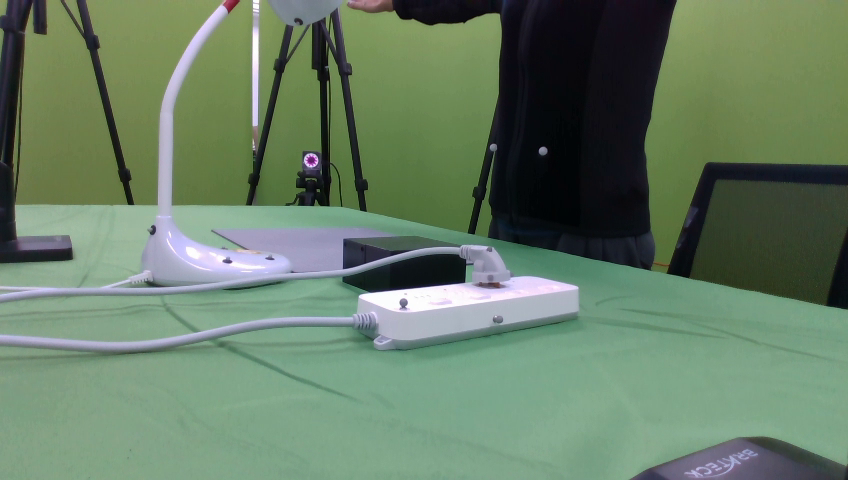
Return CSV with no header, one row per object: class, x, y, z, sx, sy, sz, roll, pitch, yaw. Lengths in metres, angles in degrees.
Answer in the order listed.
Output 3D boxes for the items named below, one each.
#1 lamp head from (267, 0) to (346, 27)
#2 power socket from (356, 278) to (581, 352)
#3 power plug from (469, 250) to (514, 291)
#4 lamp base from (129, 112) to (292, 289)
lamp head,-0.157,-0.326,0.701,0.112,0.112,0.123,6,-16,26
power socket,0.045,0.059,0.523,0.228,0.032,0.072,-3,8,-36
power plug,0.052,0.037,0.529,0.035,0.052,0.073,-11,4,37
lamp base,-0.233,-0.045,0.658,0.160,0.180,0.180,7,11,29
